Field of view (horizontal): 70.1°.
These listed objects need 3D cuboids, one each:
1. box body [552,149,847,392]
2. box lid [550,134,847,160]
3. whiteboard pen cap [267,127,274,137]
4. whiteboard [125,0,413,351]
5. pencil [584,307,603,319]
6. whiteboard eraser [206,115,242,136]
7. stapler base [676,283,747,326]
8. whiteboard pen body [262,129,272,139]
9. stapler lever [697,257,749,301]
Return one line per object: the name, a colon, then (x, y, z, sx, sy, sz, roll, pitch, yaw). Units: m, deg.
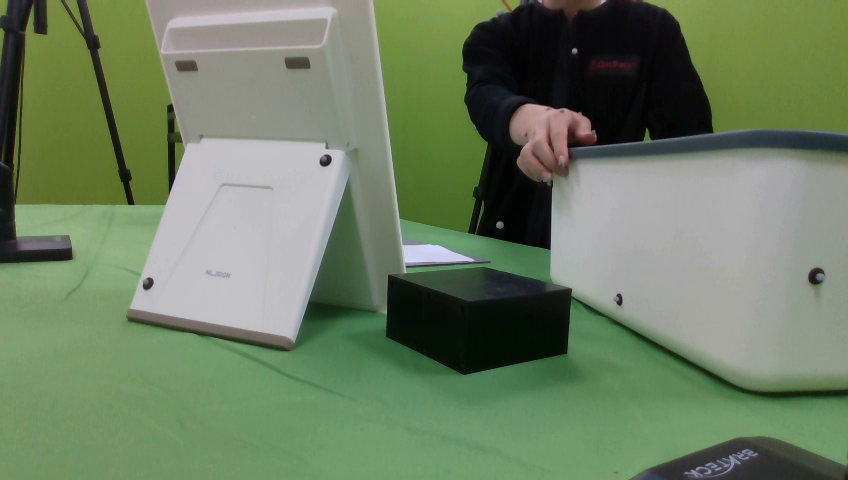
box body: (0.290, 0.002, 0.549, 0.255, 0.160, 0.363, 2, 7, -10)
box lid: (0.294, -0.070, 0.538, 0.264, 0.015, 0.370, 2, 6, -10)
whiteboard pen cap: (-0.340, -0.239, 1.337, 0.018, 0.018, 0.033, 1, -1, -14)
whiteboard: (-0.151, -0.050, 0.471, 0.216, 0.305, 0.144, 6, 27, 24)
pencil: (0.250, 0.054, 0.655, 0.195, 0.012, 0.012, -14, 14, -25)
whiteboard eraser: (-0.438, -0.249, 1.320, 0.056, 0.042, 0.112, -3, 9, -30)
stapler base: (0.283, 0.058, 0.585, 0.041, 0.024, 0.131, 28, 17, 34)
whiteboard pen body: (-0.361, -0.245, 1.393, 0.017, 0.017, 0.140, 0, 5, -20)
stapler lever: (0.290, 0.035, 0.581, 0.026, 0.040, 0.119, 28, 18, 34)
